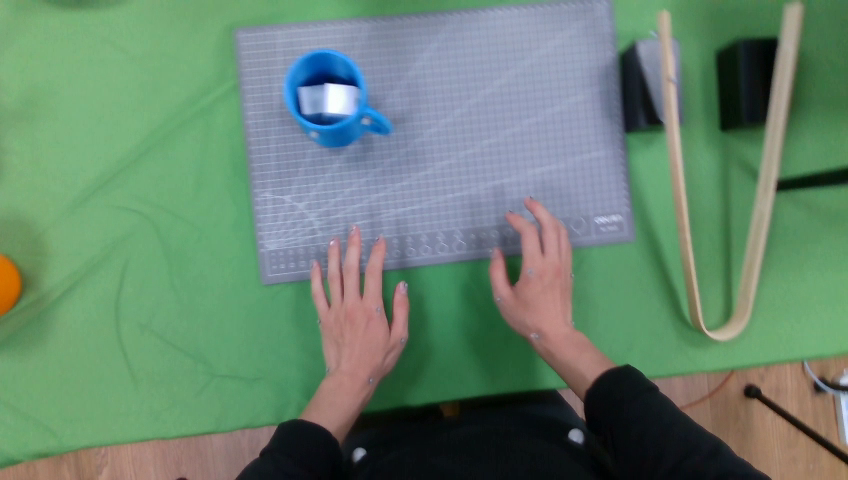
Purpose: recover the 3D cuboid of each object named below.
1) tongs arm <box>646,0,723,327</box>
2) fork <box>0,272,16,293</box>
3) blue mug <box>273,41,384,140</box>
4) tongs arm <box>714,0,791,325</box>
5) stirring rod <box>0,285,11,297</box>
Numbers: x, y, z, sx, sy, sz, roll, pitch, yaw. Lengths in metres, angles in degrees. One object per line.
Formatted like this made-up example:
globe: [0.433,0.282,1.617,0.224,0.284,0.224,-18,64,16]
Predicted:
tongs arm: [0.299,-0.079,0.689,0.051,0.026,0.386,-12,103,-6]
fork: [-0.537,0.038,0.613,0.209,0.018,0.028,10,89,-47]
blue mug: [-0.097,-0.152,0.659,0.117,0.106,0.082,23,89,-4]
tongs arm: [0.380,-0.089,0.696,0.028,0.027,0.388,0,103,-12]
stirring rod: [-0.526,0.056,0.617,0.177,0.006,0.014,0,77,-44]
